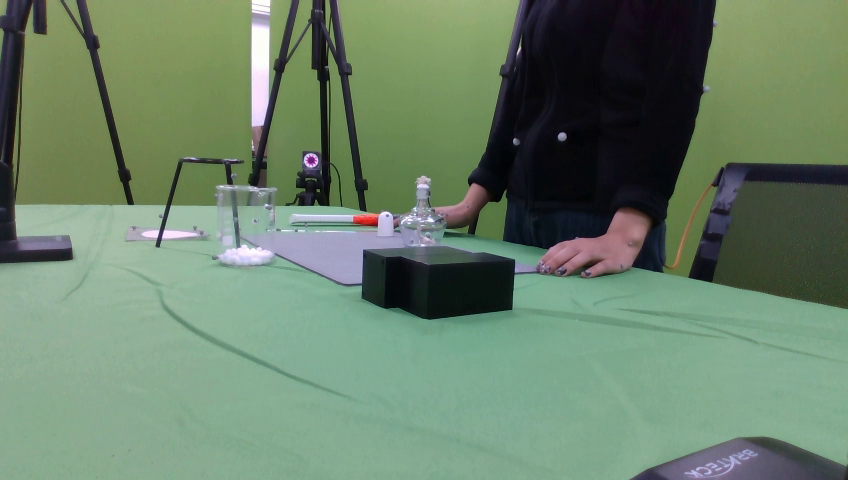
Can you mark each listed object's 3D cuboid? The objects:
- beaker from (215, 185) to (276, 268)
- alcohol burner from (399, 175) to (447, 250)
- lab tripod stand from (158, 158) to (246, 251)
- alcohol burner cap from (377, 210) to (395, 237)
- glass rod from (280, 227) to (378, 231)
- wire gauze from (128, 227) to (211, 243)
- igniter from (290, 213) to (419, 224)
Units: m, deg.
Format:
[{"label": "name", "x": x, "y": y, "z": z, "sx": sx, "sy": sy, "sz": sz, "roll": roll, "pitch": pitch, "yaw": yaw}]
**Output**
[{"label": "beaker", "x": -0.226, "y": -0.019, "z": 0.773, "sx": 0.074, "sy": 0.100, "sz": 0.084, "roll": 5, "pitch": 7, "yaw": 14}, {"label": "alcohol burner", "x": -0.001, "y": -0.044, "z": 0.961, "sx": 0.078, "sy": 0.119, "sz": 0.078, "roll": 0, "pitch": 8, "yaw": 0}, {"label": "lab tripod stand", "x": -0.314, "y": -0.055, "z": 0.891, "sx": 0.148, "sy": 0.131, "sz": 0.148, "roll": 2, "pitch": 9, "yaw": 0}, {"label": "alcohol burner cap", "x": -0.069, "y": -0.031, "z": 1.112, "sx": 0.034, "sy": 0.048, "sz": 0.034, "roll": 2, "pitch": 8, "yaw": 0}, {"label": "glass rod", "x": -0.175, "y": -0.021, "z": 1.161, "sx": 0.200, "sy": 0.008, "sz": 0.008, "roll": 0, "pitch": 7, "yaw": -15}, {"label": "wire gauze", "x": -0.420, "y": -0.010, "z": 0.999, "sx": 0.122, "sy": 0.011, "sz": 0.124, "roll": -2, "pitch": 10, "yaw": -24}, {"label": "igniter", "x": -0.143, "y": -0.046, "z": 1.288, "sx": 0.278, "sy": 0.025, "sz": 0.057, "roll": -1, "pitch": -3, "yaw": -24}]
